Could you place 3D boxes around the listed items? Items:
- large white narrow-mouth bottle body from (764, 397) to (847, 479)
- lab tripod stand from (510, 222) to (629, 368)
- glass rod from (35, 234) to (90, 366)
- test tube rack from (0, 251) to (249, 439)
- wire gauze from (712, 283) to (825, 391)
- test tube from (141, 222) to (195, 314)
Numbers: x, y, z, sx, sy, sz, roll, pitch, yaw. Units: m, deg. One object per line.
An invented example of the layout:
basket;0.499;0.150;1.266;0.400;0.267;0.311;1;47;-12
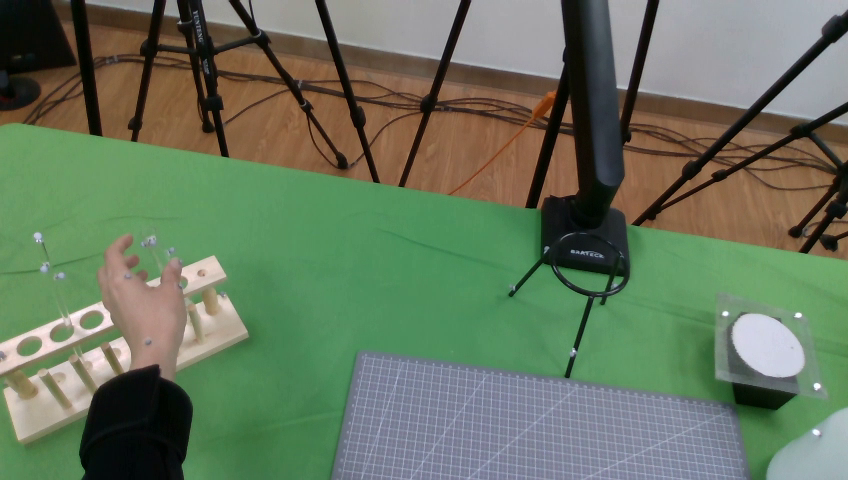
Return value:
large white narrow-mouth bottle body;0.424;0.209;0.588;0.102;0.196;0.101;3;51;-4
lab tripod stand;0.178;0.058;0.716;0.148;0.132;0.147;4;53;-5
glass rod;-0.348;0.067;0.589;0.008;0.201;0.008;7;43;-6
test tube rack;-0.320;0.107;0.645;0.242;0.086;0.066;-25;59;-24
wire gauze;0.402;0.113;0.716;0.121;0.011;0.124;14;51;4
test tube;-0.268;0.034;0.645;0.017;0.151;0.017;1;51;0
